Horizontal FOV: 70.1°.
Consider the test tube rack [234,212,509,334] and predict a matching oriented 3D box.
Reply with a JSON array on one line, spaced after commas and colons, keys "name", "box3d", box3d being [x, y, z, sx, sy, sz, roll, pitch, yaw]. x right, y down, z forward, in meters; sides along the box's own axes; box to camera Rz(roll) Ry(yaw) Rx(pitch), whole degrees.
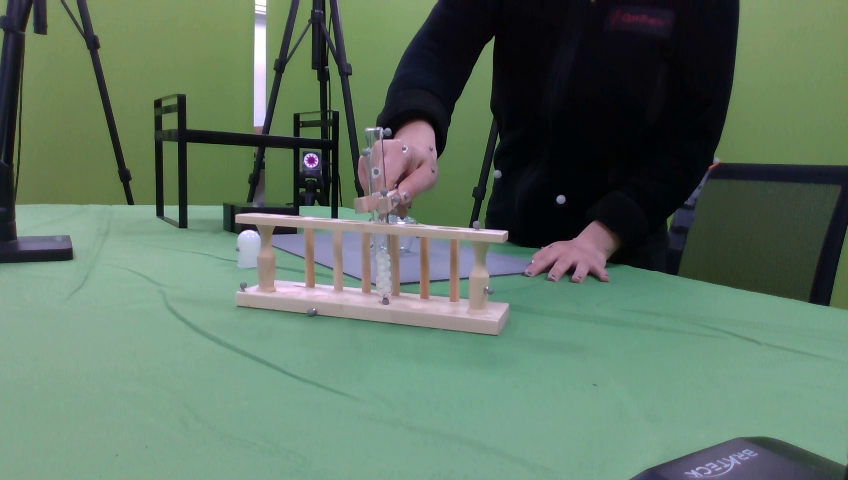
[{"name": "test tube rack", "box3d": [-0.047, 0.023, 0.547, 0.242, 0.085, 0.067, 4, 8, 15]}]

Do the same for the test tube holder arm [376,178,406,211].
[{"name": "test tube holder arm", "box3d": [-0.030, -0.046, 0.585, 0.013, 0.015, 0.178, -7, 10, 6]}]

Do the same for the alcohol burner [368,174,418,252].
[{"name": "alcohol burner", "box3d": [-0.047, -0.041, 0.922, 0.078, 0.119, 0.078, 1, 9, 0]}]

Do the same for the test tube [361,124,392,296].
[{"name": "test tube", "box3d": [-0.041, -0.024, 0.521, 0.017, 0.150, 0.017, -3, 12, 1]}]

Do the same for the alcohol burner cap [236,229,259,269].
[{"name": "alcohol burner cap", "box3d": [-0.221, 0.010, 0.759, 0.034, 0.048, 0.034, 0, 12, 0]}]

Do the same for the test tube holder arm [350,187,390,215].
[{"name": "test tube holder arm", "box3d": [-0.043, -0.037, 0.543, 0.010, 0.015, 0.088, -5, 10, 20]}]
